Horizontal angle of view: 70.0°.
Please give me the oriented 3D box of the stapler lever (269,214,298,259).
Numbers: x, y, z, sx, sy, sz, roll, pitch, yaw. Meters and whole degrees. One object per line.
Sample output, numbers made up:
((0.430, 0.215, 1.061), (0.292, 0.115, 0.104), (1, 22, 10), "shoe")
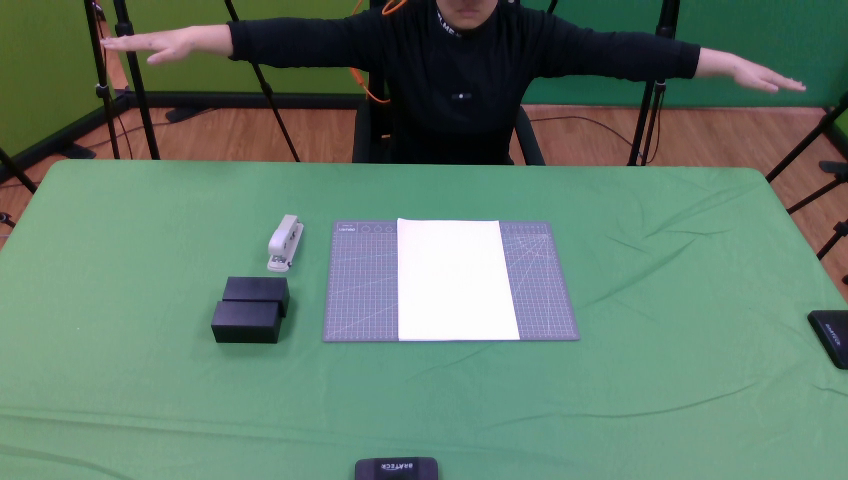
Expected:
((-0.268, -0.014, 1.153), (0.027, 0.040, 0.117), (7, 44, 0), "stapler lever")

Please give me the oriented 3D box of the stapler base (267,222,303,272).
((-0.269, 0.005, 1.170), (0.041, 0.024, 0.130), (8, 44, 0), "stapler base")
